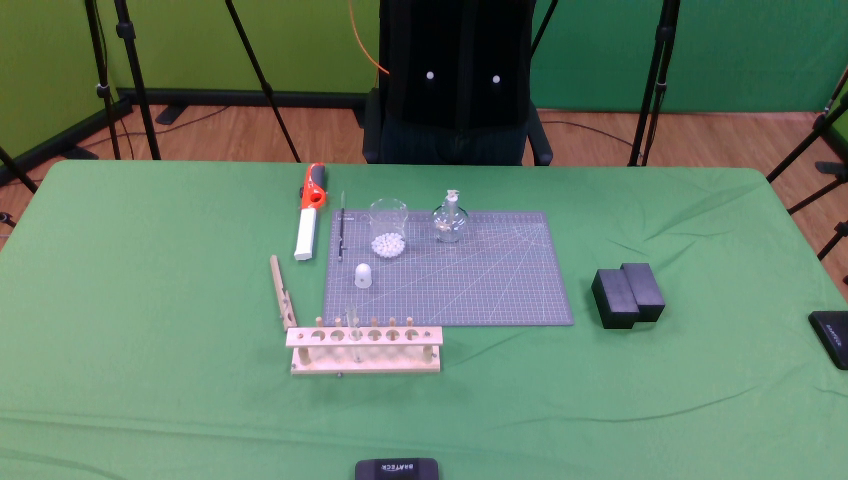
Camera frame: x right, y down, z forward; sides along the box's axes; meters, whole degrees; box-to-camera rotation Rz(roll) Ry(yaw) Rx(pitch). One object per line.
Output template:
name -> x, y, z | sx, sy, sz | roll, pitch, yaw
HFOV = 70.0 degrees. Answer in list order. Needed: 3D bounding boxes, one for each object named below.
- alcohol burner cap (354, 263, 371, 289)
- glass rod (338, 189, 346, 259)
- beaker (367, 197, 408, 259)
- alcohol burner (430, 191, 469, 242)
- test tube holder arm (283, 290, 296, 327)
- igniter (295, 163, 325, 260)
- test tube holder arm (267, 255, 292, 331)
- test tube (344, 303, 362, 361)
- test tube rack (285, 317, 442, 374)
alcohol burner cap -> -0.113, 0.063, 1.111 | 0.034, 0.048, 0.033 | 2, 45, -2
glass rod -> -0.165, -0.037, 1.227 | 0.008, 0.008, 0.198 | 0, 47, -3
beaker -> -0.067, -0.018, 1.153 | 0.074, 0.101, 0.083 | -26, 54, -25
alcohol burner -> 0.051, -0.053, 1.185 | 0.078, 0.119, 0.077 | 2, 48, -2
test tube holder arm -> -0.241, 0.123, 1.067 | 0.010, 0.015, 0.087 | 15, 34, -38
igniter -> -0.234, -0.067, 1.243 | 0.057, 0.025, 0.274 | -6, 46, 4
test tube holder arm -> -0.261, 0.091, 1.092 | 0.013, 0.015, 0.177 | 14, 35, -39
test tube -> -0.109, 0.146, 0.937 | 0.017, 0.151, 0.017 | 0, 49, 0
test tube rack -> -0.095, 0.166, 0.988 | 0.242, 0.085, 0.066 | 0, 46, -4
